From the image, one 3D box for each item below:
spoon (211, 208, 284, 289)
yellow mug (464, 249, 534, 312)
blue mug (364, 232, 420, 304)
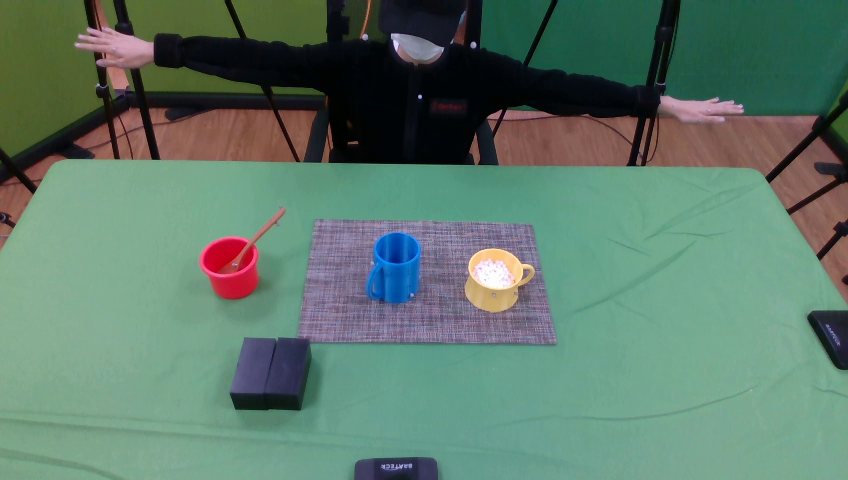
[{"bbox_3d":[-0.313,0.015,1.076,0.194,0.022,0.041,-48,54,12],"label":"spoon"},{"bbox_3d":[0.141,0.070,1.106,0.131,0.064,0.099,-9,47,-14],"label":"yellow mug"},{"bbox_3d":[-0.062,0.059,1.074,0.082,0.106,0.116,35,53,27],"label":"blue mug"}]
